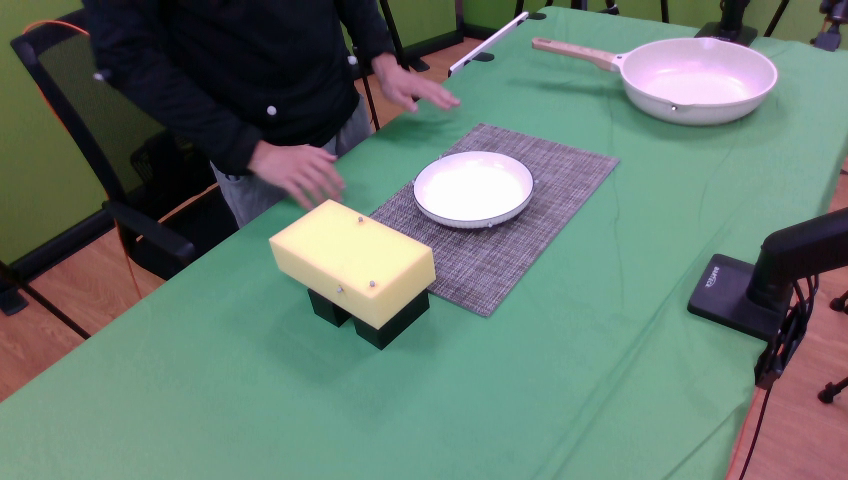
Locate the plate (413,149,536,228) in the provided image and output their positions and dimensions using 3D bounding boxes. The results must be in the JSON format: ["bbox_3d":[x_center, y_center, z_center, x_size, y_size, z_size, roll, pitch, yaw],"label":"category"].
[{"bbox_3d":[0.086,-0.085,1.038,0.207,0.039,0.206,-4,40,4],"label":"plate"}]

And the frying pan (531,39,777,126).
[{"bbox_3d":[0.452,-0.354,1.254,0.485,0.103,0.307,22,47,19],"label":"frying pan"}]

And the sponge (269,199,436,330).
[{"bbox_3d":[-0.102,0.027,0.846,0.205,0.061,0.118,25,50,32],"label":"sponge"}]
